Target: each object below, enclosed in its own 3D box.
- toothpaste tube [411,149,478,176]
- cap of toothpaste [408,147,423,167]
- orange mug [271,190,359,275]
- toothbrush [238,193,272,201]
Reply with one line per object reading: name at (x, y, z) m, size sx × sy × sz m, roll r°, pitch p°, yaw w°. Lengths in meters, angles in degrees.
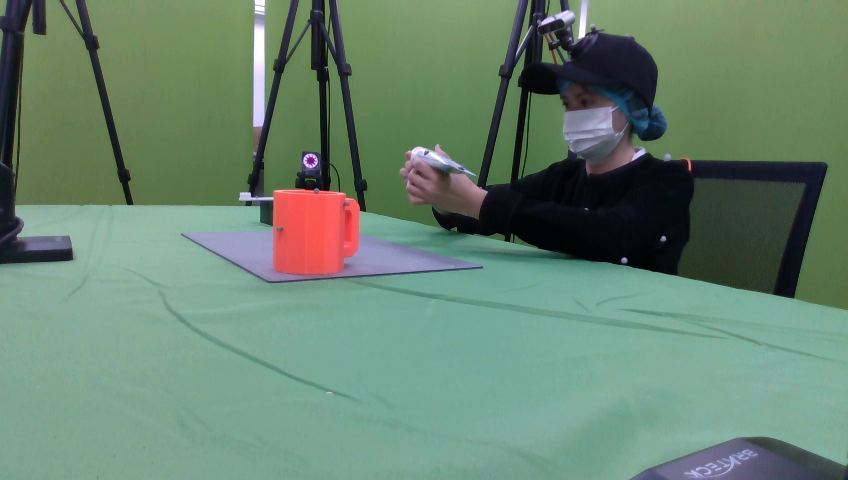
toothpaste tube at (0.024, -0.126, 0.988) m, size 0.055 × 0.034 × 0.164 m, roll 12°, pitch 8°, yaw -30°
cap of toothpaste at (-0.009, -0.145, 1.057) m, size 0.037 × 0.037 × 0.011 m, roll -1°, pitch 14°, yaw -29°
orange mug at (-0.131, -0.013, 0.754) m, size 0.083 × 0.101 × 0.127 m, roll 8°, pitch 13°, yaw 38°
toothbrush at (-0.286, -0.087, 1.236) m, size 0.183 × 0.016 × 0.014 m, roll -1°, pitch 4°, yaw -30°
